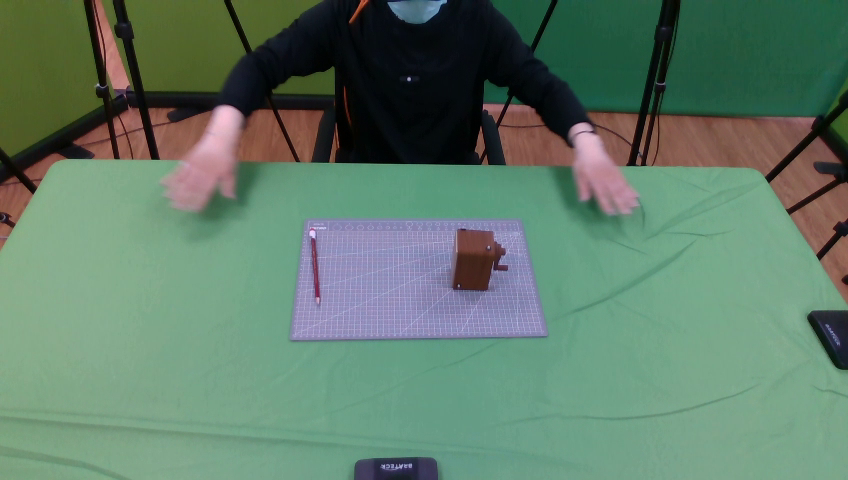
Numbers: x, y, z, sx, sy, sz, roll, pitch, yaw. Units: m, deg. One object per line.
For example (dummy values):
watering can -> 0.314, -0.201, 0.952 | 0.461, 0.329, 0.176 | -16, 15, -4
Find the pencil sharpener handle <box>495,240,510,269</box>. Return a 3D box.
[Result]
pencil sharpener handle -> 0.144, 0.029, 1.095 | 0.030, 0.068, 0.036 | 3, 47, -1

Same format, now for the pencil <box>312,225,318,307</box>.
pencil -> -0.207, 0.046, 1.141 | 0.012, 0.012, 0.192 | -3, 51, -6

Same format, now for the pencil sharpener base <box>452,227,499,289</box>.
pencil sharpener base -> 0.093, 0.035, 1.102 | 0.077, 0.107, 0.061 | 3, 46, -1
